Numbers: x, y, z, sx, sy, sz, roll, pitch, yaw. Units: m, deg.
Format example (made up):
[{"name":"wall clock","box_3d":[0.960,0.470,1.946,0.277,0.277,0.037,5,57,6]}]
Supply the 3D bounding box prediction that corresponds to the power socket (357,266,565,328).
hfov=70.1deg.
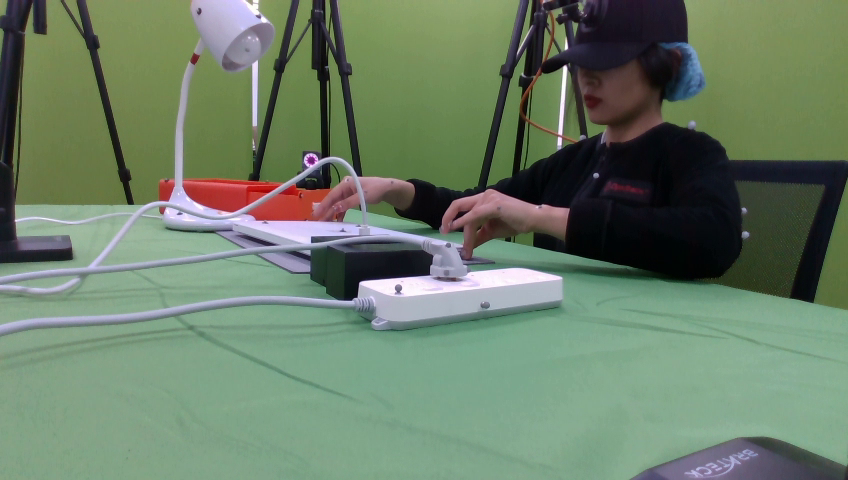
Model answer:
[{"name":"power socket","box_3d":[0.041,0.049,0.572,0.228,0.032,0.072,-3,8,-35]}]

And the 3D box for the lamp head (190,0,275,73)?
[{"name":"lamp head","box_3d":[-0.330,-0.355,1.008,0.123,0.112,0.112,43,15,6]}]

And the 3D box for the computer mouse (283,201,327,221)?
[{"name":"computer mouse","box_3d":[-0.254,-0.062,1.292,0.063,0.041,0.117,1,2,10]}]

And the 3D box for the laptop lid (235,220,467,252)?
[{"name":"laptop lid","box_3d":[-0.128,-0.011,0.958,0.243,0.013,0.355,0,8,-35]}]

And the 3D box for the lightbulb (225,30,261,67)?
[{"name":"lightbulb","box_3d":[-0.317,-0.335,1.001,0.107,0.059,0.059,47,16,5]}]

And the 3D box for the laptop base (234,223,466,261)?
[{"name":"laptop base","box_3d":[-0.131,0.001,0.958,0.237,0.023,0.352,1,6,-37]}]

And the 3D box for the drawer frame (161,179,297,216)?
[{"name":"drawer frame","box_3d":[-0.421,-0.089,1.329,0.213,0.082,0.202,4,8,16]}]

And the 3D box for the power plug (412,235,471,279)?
[{"name":"power plug","box_3d":[0.017,0.023,0.588,0.035,0.052,0.072,-1,8,-24]}]

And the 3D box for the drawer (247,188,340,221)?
[{"name":"drawer","box_3d":[-0.314,-0.079,1.301,0.211,0.073,0.195,4,8,15]}]

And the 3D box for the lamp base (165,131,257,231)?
[{"name":"lamp base","box_3d":[-0.407,-0.112,1.119,0.179,0.180,0.161,-1,7,7]}]

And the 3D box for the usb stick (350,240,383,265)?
[{"name":"usb stick","box_3d":[-0.076,0.015,0.760,0.021,0.027,0.059,-8,8,-40]}]
